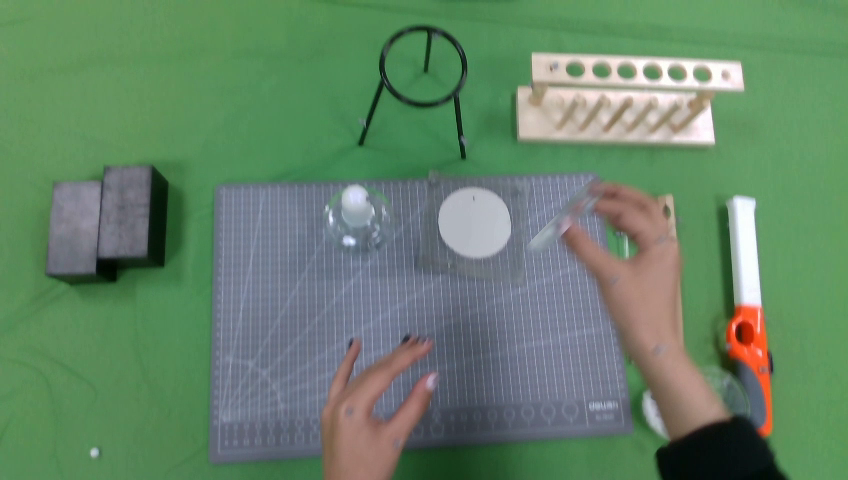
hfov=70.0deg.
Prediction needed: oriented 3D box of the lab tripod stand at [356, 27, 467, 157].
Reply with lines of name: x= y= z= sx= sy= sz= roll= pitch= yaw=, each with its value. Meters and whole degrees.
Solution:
lab tripod stand: x=-0.009 y=-0.156 z=0.671 sx=0.148 sy=0.132 sz=0.147 roll=1 pitch=77 yaw=-4

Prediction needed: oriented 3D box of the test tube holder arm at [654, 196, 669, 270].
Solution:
test tube holder arm: x=0.283 y=-0.009 z=0.718 sx=0.010 sy=0.015 sz=0.087 roll=-9 pitch=74 yaw=31

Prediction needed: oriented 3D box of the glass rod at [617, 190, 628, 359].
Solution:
glass rod: x=0.231 y=0.037 z=0.705 sx=0.008 sy=0.008 sz=0.199 roll=3 pitch=78 yaw=-4

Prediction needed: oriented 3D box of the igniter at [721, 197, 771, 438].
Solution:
igniter: x=0.367 y=0.084 z=0.695 sx=0.057 sy=0.025 sz=0.275 roll=7 pitch=75 yaw=-13

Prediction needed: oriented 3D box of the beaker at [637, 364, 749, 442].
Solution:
beaker: x=0.270 y=0.167 z=0.630 sx=0.084 sy=0.100 sz=0.074 roll=29 pitch=75 yaw=5

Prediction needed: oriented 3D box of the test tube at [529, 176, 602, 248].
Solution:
test tube: x=0.116 y=-0.019 z=0.515 sx=0.017 sy=0.151 sz=0.017 roll=2 pitch=73 yaw=-6

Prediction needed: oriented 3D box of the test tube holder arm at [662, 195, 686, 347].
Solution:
test tube holder arm: x=0.289 y=0.034 z=0.704 sx=0.013 sy=0.015 sz=0.177 roll=-11 pitch=74 yaw=30

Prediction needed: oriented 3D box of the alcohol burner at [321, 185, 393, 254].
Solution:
alcohol burner: x=-0.072 y=-0.026 z=0.640 sx=0.078 sy=0.119 sz=0.077 roll=1 pitch=76 yaw=-2

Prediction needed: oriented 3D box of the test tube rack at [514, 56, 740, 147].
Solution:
test tube rack: x=0.235 y=-0.161 z=0.716 sx=0.243 sy=0.085 sz=0.066 roll=1 pitch=75 yaw=-4

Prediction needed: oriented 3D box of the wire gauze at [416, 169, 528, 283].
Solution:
wire gauze: x=0.057 y=-0.019 z=0.704 sx=0.125 sy=0.011 sz=0.121 roll=9 pitch=76 yaw=-3

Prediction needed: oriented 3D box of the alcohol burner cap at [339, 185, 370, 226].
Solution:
alcohol burner cap: x=-0.070 y=-0.037 z=0.606 sx=0.034 sy=0.048 sz=0.033 roll=2 pitch=69 yaw=-4
